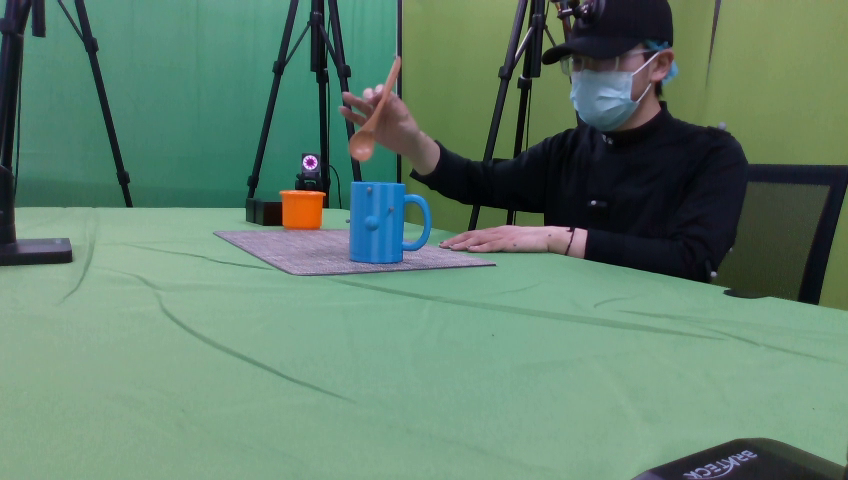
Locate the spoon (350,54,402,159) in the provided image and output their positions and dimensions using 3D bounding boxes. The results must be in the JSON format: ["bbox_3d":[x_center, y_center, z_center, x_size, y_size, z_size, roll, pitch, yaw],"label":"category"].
[{"bbox_3d":[-0.072,-0.220,0.991,0.042,0.193,0.021,27,-8,-24],"label":"spoon"}]

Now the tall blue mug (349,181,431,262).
[{"bbox_3d":[-0.051,-0.028,0.849,0.108,0.108,0.077,-1,7,-22],"label":"tall blue mug"}]
